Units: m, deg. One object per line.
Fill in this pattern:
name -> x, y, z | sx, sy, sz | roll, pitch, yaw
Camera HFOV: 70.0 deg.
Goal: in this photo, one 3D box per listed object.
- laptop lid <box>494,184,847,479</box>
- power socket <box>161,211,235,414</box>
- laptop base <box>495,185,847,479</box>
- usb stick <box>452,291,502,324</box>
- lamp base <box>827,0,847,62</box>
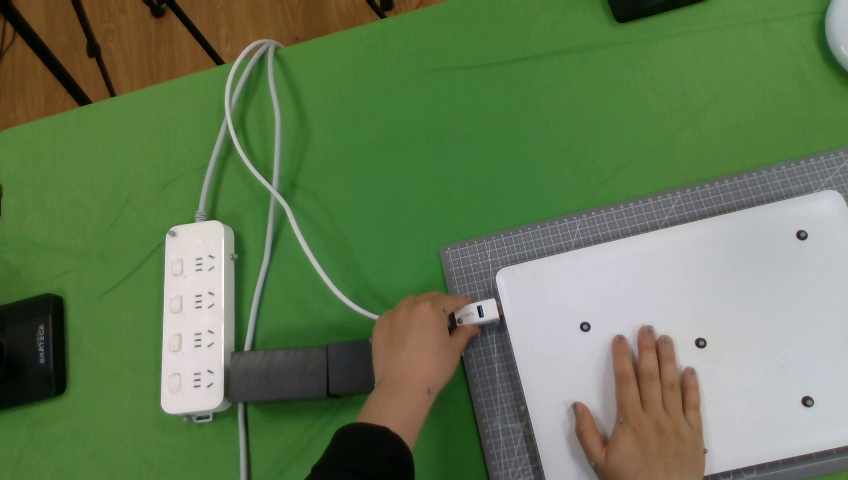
laptop lid -> 0.263, 0.093, 0.582 | 0.356, 0.013, 0.240 | -12, 76, 5
power socket -> -0.247, 0.075, 0.668 | 0.072, 0.033, 0.225 | -7, 73, 6
laptop base -> 0.264, 0.093, 0.593 | 0.354, 0.023, 0.234 | -14, 76, 4
usb stick -> 0.060, 0.068, 0.619 | 0.059, 0.027, 0.021 | -14, 68, 4
lamp base -> 0.507, -0.266, 0.572 | 0.160, 0.181, 0.178 | 19, 75, 14
